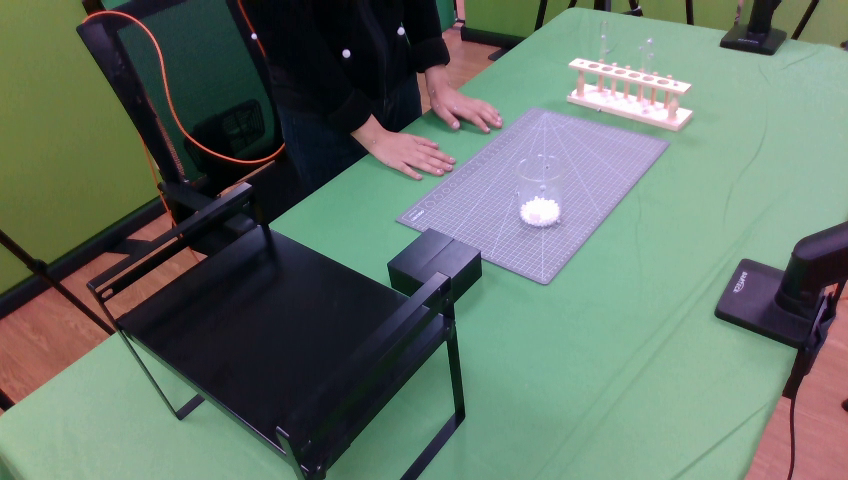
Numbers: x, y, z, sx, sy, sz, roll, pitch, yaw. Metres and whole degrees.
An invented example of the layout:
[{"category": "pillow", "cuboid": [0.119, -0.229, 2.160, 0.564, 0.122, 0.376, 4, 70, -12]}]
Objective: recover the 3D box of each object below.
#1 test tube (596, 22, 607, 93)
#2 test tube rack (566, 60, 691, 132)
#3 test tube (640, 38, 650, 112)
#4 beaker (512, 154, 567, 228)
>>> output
[{"category": "test tube", "cuboid": [0.363, -0.372, 1.240, 0.017, 0.151, 0.017, -6, 40, 5]}, {"category": "test tube rack", "cuboid": [0.411, -0.299, 1.217, 0.240, 0.085, 0.067, 26, 51, 33]}, {"category": "test tube", "cuboid": [0.422, -0.312, 1.154, 0.017, 0.151, 0.017, -9, 39, 8]}, {"category": "beaker", "cuboid": [0.186, -0.076, 0.973, 0.084, 0.101, 0.074, 1, 41, 11]}]
